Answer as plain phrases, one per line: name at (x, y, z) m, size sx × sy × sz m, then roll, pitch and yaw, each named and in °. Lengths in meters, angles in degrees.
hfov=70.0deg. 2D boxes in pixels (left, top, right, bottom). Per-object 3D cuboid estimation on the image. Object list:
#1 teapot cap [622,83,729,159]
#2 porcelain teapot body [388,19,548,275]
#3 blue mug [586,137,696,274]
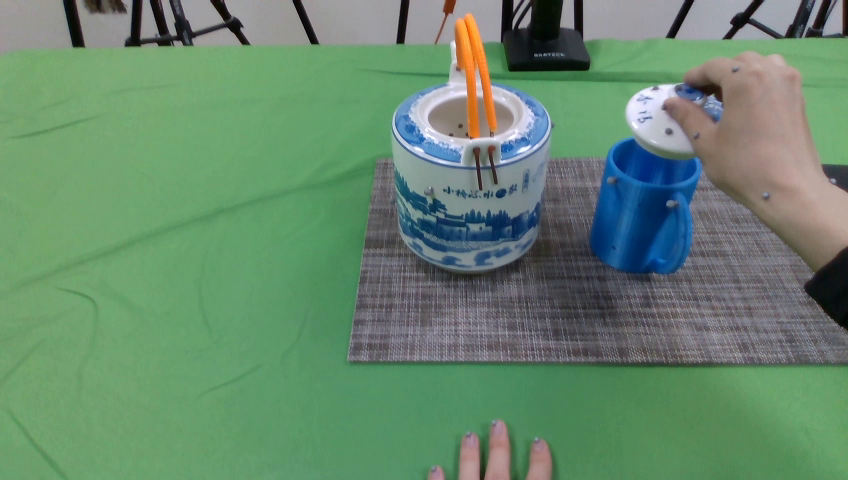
teapot cap at (0.204, -0.103, 0.491) m, size 0.085 × 0.044 × 0.084 m, roll 0°, pitch 51°, yaw 1°
porcelain teapot body at (0.037, -0.105, 0.580) m, size 0.145 × 0.227 × 0.203 m, roll -5°, pitch 43°, yaw -4°
blue mug at (0.210, -0.023, 0.574) m, size 0.082 × 0.107 × 0.115 m, roll -12°, pitch 44°, yaw -10°
